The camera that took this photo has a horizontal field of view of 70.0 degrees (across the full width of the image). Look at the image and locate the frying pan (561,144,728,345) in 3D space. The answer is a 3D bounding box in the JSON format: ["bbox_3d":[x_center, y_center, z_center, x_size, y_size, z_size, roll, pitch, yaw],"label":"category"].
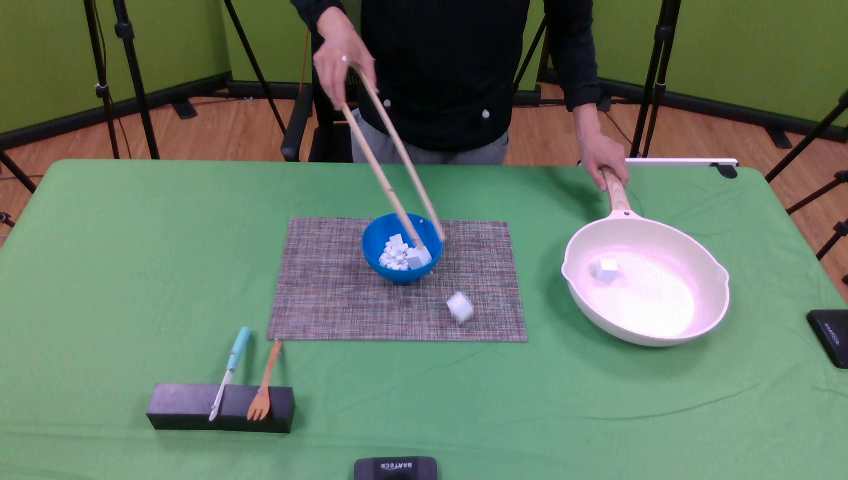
[{"bbox_3d":[0.397,-0.008,1.179,0.307,0.103,0.485,2,55,-4],"label":"frying pan"}]

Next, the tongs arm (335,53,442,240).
[{"bbox_3d":[-0.062,-0.170,1.072,0.028,0.028,0.386,-26,80,-11],"label":"tongs arm"}]

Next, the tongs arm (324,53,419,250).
[{"bbox_3d":[-0.088,-0.158,1.065,0.051,0.026,0.384,-28,81,-14],"label":"tongs arm"}]

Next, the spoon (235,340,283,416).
[{"bbox_3d":[-0.244,0.207,0.932,0.042,0.022,0.193,28,25,-8],"label":"spoon"}]

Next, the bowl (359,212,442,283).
[{"bbox_3d":[-0.044,0.026,1.125,0.151,0.077,0.150,2,46,-2],"label":"bowl"}]

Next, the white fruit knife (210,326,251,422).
[{"bbox_3d":[-0.300,0.201,0.941,0.016,0.027,0.206,-2,32,1],"label":"white fruit knife"}]
